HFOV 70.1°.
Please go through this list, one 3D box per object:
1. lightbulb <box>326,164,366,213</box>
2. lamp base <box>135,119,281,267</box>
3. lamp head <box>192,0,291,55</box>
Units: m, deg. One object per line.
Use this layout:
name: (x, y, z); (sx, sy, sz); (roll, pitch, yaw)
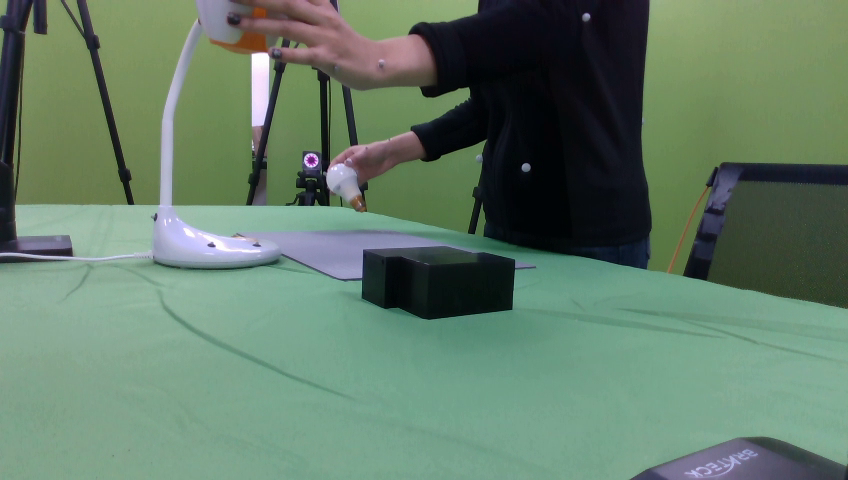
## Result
lightbulb: (-0.146, -0.098, 1.168); (0.059, 0.107, 0.059); (-33, -11, -7)
lamp base: (-0.276, -0.061, 0.773); (0.180, 0.180, 0.160); (-9, 13, -44)
lamp head: (-0.186, -0.251, 0.608); (0.112, 0.123, 0.112); (11, 20, -4)
